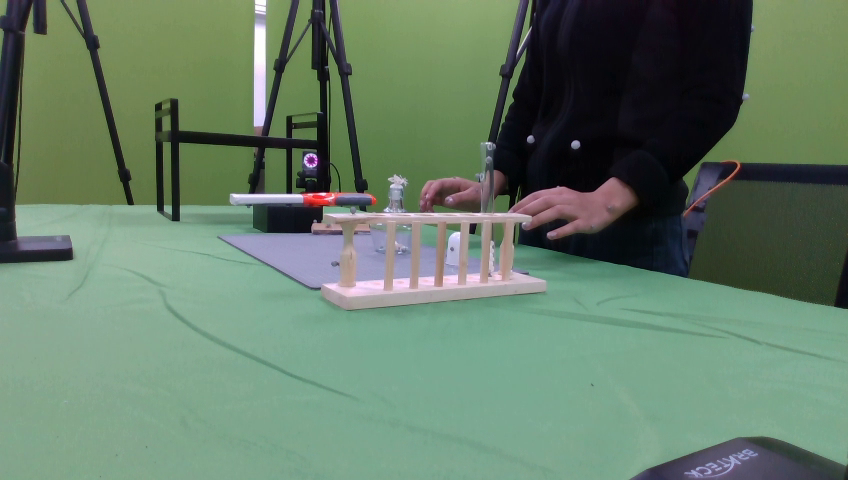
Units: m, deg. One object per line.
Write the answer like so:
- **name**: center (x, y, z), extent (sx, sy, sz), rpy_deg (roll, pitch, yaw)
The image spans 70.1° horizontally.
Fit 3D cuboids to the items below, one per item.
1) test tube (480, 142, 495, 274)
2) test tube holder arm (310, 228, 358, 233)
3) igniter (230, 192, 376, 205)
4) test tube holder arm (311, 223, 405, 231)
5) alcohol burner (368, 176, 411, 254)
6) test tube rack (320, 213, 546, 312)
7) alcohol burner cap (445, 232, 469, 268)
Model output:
- **test tube**: center (0.072, -0.036, 0.686), extent (0.017, 0.150, 0.017), rpy_deg (-1, 5, 0)
- **test tube holder arm**: center (-0.163, -0.021, 1.102), extent (0.088, 0.015, 0.010), rpy_deg (-2, -21, -23)
- **igniter**: center (-0.226, -0.079, 1.161), extent (0.278, 0.025, 0.057), rpy_deg (-2, 15, -28)
- **test tube holder arm**: center (-0.119, -0.024, 1.116), extent (0.179, 0.015, 0.013), rpy_deg (-2, -21, -23)
- **alcohol burner**: center (-0.045, -0.038, 0.913), extent (0.078, 0.119, 0.078), rpy_deg (5, 8, 0)
- **test tube rack**: center (0.017, 0.017, 0.638), extent (0.244, 0.085, 0.066), rpy_deg (-2, 9, -31)
- **alcohol burner cap**: center (0.045, 0.013, 0.829), extent (0.034, 0.048, 0.034), rpy_deg (2, 8, 0)
